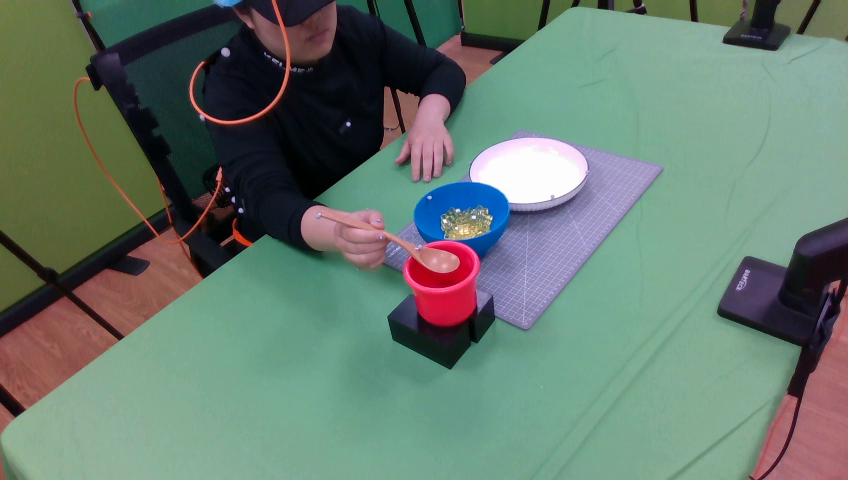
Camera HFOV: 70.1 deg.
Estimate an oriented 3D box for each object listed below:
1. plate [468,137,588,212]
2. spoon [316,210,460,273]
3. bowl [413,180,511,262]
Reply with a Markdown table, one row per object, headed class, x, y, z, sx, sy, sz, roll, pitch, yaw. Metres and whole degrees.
| class | x | y | z | sx | sy | sz | roll | pitch | yaw |
| --- | --- | --- | --- | --- | --- | --- | --- | --- | --- |
| plate | 0.182 | -0.112 | 1.064 | 0.207 | 0.039 | 0.206 | -5 | 40 | 5 |
| spoon | -0.044 | -0.002 | 0.770 | 0.194 | 0.021 | 0.041 | 25 | 42 | -9 |
| bowl | 0.062 | -0.019 | 0.945 | 0.151 | 0.077 | 0.150 | -5 | 40 | 5 |
